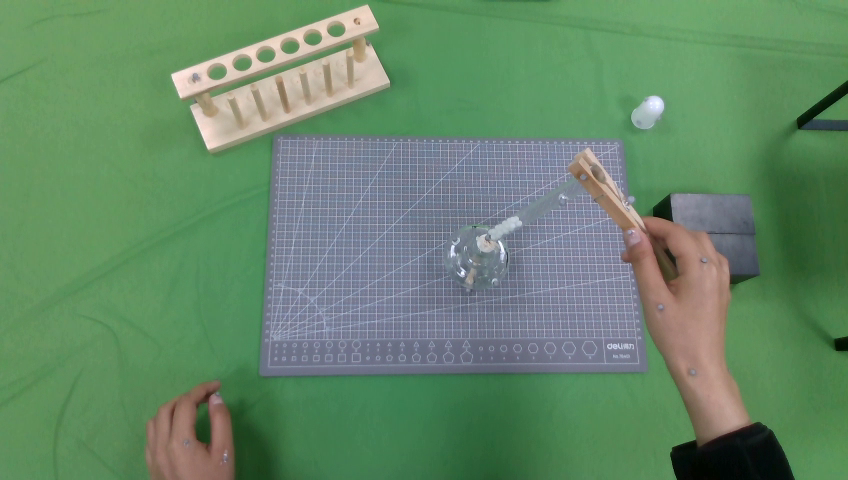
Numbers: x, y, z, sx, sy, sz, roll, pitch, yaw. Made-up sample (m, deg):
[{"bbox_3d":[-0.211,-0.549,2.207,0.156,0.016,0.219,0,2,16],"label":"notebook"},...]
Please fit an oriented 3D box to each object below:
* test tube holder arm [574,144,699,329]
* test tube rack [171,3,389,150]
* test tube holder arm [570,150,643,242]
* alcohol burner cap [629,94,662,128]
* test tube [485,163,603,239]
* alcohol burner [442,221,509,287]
[{"bbox_3d":[0.179,-0.002,0.506,0.178,0.015,0.013,56,38,-5],"label":"test tube holder arm"},{"bbox_3d":[-0.166,-0.198,0.738,0.242,0.085,0.066,-23,77,-10],"label":"test tube rack"},{"bbox_3d":[0.150,-0.035,0.496,0.088,0.015,0.010,49,38,-13],"label":"test tube holder arm"},{"bbox_3d":[0.291,-0.170,0.788,0.034,0.048,0.033,1,74,-2],"label":"alcohol burner cap"},{"bbox_3d":[0.103,-0.031,0.550,0.017,0.150,0.017,13,63,-28],"label":"test tube"},{"bbox_3d":[0.060,0.012,0.681,0.078,0.119,0.077,1,75,-4],"label":"alcohol burner"}]
